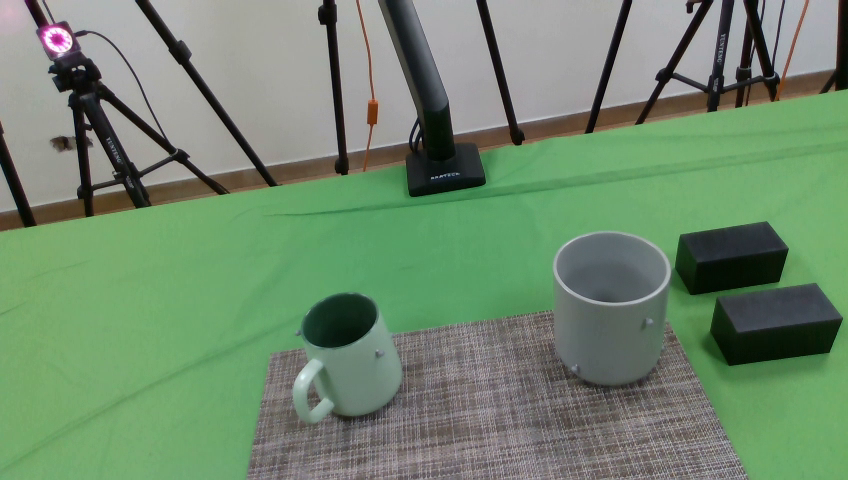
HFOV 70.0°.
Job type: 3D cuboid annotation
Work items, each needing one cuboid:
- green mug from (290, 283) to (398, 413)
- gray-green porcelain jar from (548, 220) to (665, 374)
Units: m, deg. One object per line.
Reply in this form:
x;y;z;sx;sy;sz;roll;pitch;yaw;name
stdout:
-0.087;0.118;0.611;0.092;0.106;0.125;15;46;28;green mug
0.177;0.061;0.600;0.106;0.128;0.105;-7;39;6;gray-green porcelain jar
